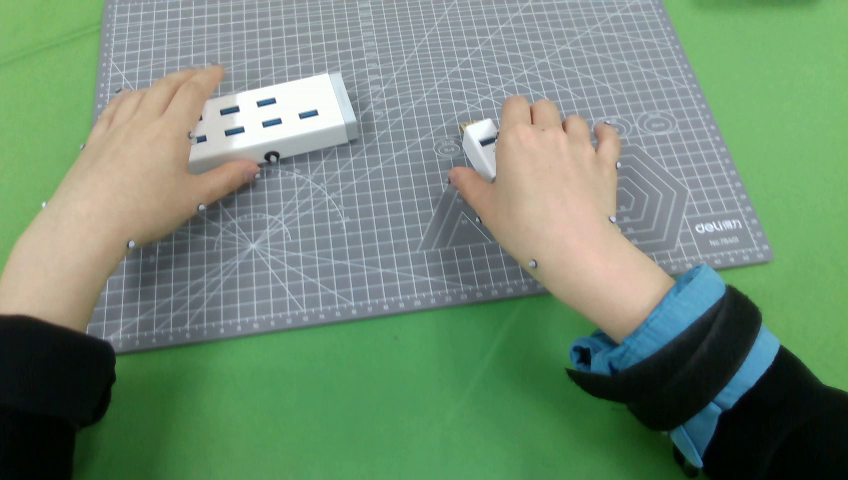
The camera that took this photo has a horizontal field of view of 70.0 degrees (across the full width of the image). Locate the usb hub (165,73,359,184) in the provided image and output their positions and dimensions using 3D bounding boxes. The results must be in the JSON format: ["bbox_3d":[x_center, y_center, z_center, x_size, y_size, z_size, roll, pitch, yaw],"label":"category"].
[{"bbox_3d":[-0.112,-0.080,0.424,0.125,0.025,0.049,-16,64,-9],"label":"usb hub"}]

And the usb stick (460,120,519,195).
[{"bbox_3d":[0.043,-0.063,0.420,0.021,0.027,0.058,-22,62,-10],"label":"usb stick"}]
